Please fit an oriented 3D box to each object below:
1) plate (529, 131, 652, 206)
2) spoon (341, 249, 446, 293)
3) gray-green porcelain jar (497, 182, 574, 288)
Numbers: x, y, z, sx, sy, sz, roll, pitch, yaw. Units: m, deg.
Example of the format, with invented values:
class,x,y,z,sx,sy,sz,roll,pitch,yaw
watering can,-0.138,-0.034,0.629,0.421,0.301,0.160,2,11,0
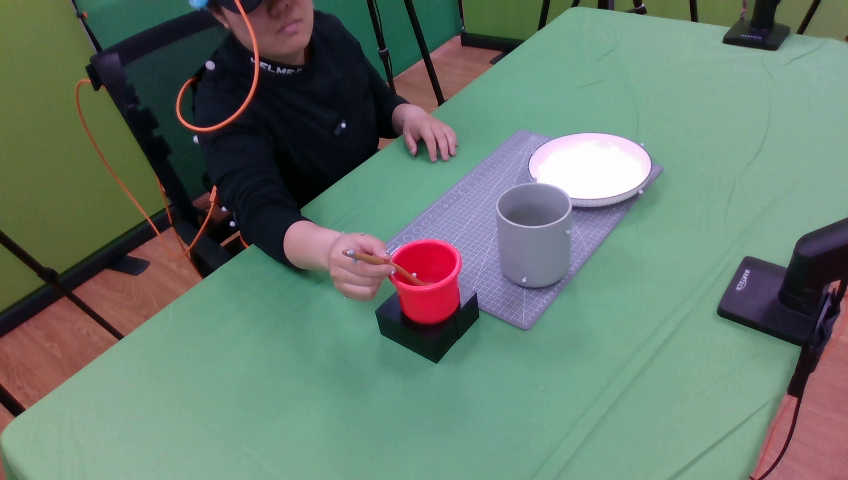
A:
class,x,y,z,sx,sy,sz,roll,pitch,yaw
plate,0.287,-0.122,1.056,0.207,0.039,0.206,-5,40,5
spoon,-0.035,0.038,0.752,0.041,0.195,0.021,15,80,40
gray-green porcelain jar,0.160,-0.003,0.869,0.106,0.127,0.105,-5,40,5
